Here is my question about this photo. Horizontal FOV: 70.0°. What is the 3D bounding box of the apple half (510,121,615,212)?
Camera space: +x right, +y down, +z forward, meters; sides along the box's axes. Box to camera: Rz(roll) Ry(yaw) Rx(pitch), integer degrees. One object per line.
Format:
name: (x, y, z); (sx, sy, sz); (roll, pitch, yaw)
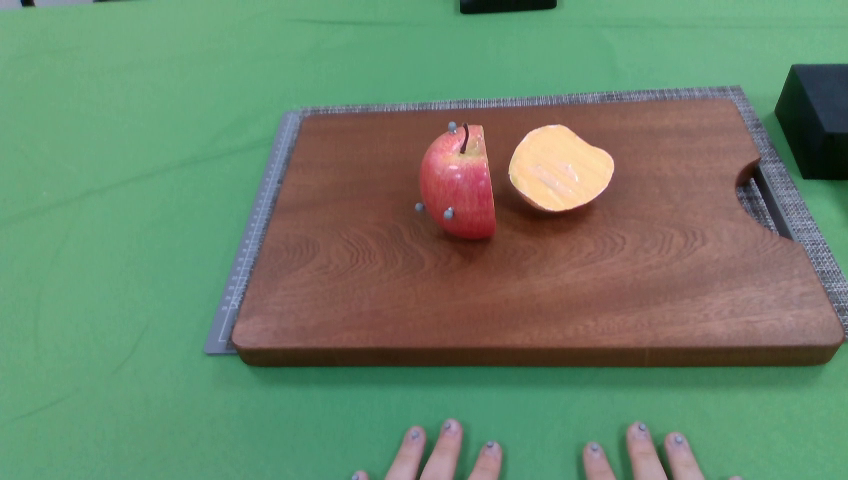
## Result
apple half: (0.104, -0.050, 0.475); (0.081, 0.033, 0.080); (-2, 63, 4)

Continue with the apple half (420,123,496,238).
apple half: (0.024, -0.041, 0.448); (0.053, 0.075, 0.080); (-8, 50, 5)
